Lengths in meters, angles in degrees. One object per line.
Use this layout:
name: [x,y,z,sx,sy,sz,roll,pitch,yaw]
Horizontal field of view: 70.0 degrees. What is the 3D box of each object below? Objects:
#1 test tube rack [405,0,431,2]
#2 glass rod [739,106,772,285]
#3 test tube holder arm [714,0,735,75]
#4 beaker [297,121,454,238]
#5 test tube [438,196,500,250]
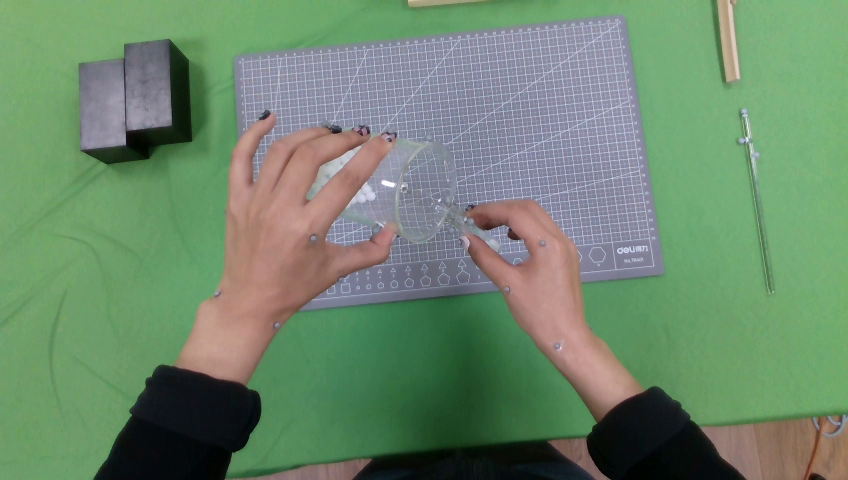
test tube rack: [0.094,-0.325,0.665,0.242,0.085,0.066,-5,81,1]
glass rod: [0.358,-0.050,0.656,0.008,0.008,0.199,-4,82,1]
test tube holder arm: [0.335,-0.272,0.681,0.013,0.015,0.178,4,81,-27]
beaker: [-0.037,-0.048,0.459,0.099,0.085,0.074,17,84,31]
test tube: [0.044,-0.012,0.538,0.017,0.151,0.017,-4,77,20]
